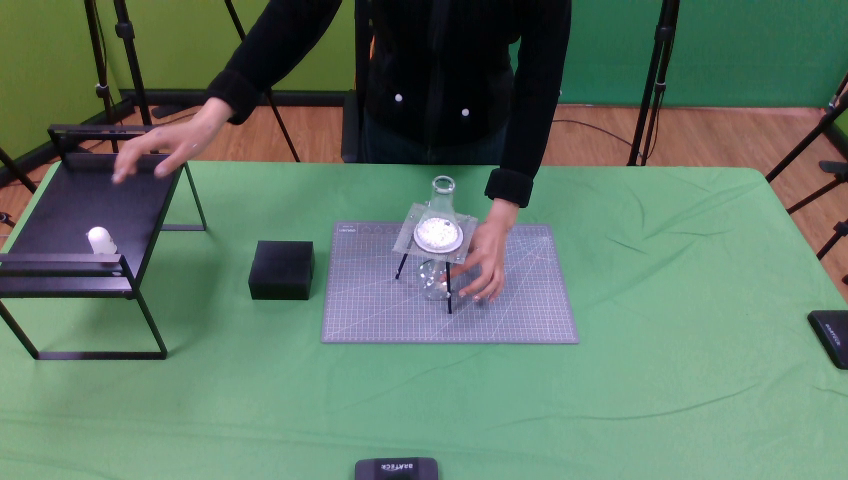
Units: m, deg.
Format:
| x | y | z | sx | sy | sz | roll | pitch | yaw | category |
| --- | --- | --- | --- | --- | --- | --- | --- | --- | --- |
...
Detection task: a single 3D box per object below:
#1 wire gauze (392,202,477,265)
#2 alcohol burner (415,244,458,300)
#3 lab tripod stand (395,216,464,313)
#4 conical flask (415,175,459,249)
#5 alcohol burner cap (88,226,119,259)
| x | y | z | sx | sy | sz | roll | pitch | yaw | category |
| --- | --- | --- | --- | --- | --- | --- | --- | --- | --- |
| 0.021 | -0.011 | 1.037 | 0.121 | 0.011 | 0.124 | 13 | 49 | 8 | wire gauze |
| 0.023 | 0.052 | 1.083 | 0.078 | 0.119 | 0.077 | 3 | 45 | -2 | alcohol burner |
| 0.024 | 0.037 | 1.084 | 0.148 | 0.132 | 0.147 | 4 | 46 | -4 | lab tripod stand |
| 0.026 | -0.049 | 0.993 | 0.075 | 0.122 | 0.075 | 3 | 47 | -3 | conical flask |
| -0.476 | 0.001 | 0.895 | 0.034 | 0.048 | 0.033 | 1 | 47 | -1 | alcohol burner cap |
